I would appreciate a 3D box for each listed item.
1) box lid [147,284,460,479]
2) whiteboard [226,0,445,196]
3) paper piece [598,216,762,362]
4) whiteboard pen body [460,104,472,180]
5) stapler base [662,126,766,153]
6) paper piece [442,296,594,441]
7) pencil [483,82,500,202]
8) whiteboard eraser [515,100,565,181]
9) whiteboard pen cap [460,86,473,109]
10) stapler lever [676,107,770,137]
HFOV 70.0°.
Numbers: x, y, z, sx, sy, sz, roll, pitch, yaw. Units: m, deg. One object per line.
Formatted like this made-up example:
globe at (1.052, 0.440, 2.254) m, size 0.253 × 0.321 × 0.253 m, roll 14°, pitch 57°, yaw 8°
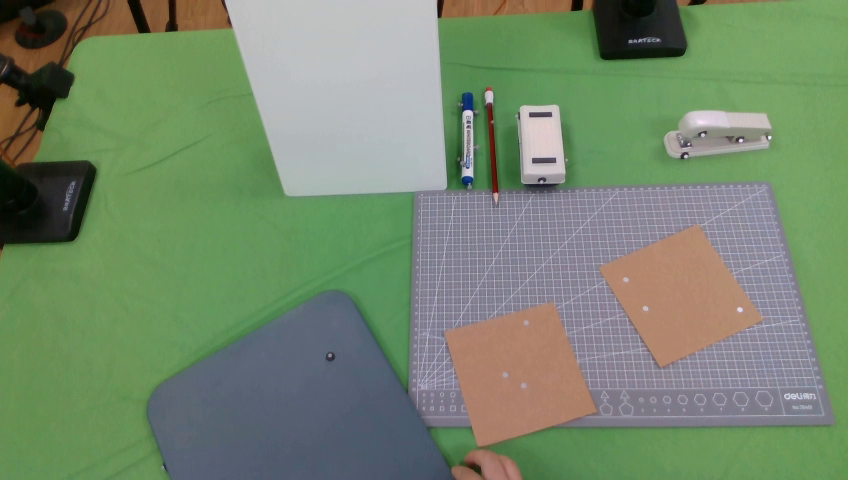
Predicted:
box lid at (-0.121, 0.243, 0.645) m, size 0.263 × 0.015 × 0.368 m, roll -30°, pitch 66°, yaw -10°
whiteboard at (-0.087, -0.219, 0.737) m, size 0.217 × 0.308 × 0.142 m, roll -1°, pitch 45°, yaw 4°
paper piece at (0.295, 0.054, 0.705) m, size 0.136 × 0.009 × 0.137 m, roll -23°, pitch 67°, yaw -2°
whiteboard pen body at (0.056, -0.143, 0.816) m, size 0.017 × 0.017 × 0.139 m, roll 0°, pitch 64°, yaw 5°
stapler base at (0.379, -0.141, 0.787) m, size 0.130 × 0.024 × 0.041 m, roll -6°, pitch 66°, yaw -1°
paper piece at (0.102, 0.139, 0.677) m, size 0.135 × 0.004 × 0.134 m, roll -15°, pitch 65°, yaw -3°
pencil at (0.092, -0.135, 0.813) m, size 0.012 × 0.012 × 0.192 m, roll -4°, pitch 64°, yaw 3°
whiteboard eraser at (0.150, -0.129, 0.789) m, size 0.055 × 0.042 × 0.112 m, roll -2°, pitch 64°, yaw 5°
whiteboard pen cap at (0.059, -0.196, 0.840) m, size 0.018 × 0.018 × 0.033 m, roll -2°, pitch 63°, yaw 4°
stapler lever at (0.379, -0.152, 0.766) m, size 0.118 × 0.040 × 0.026 m, roll -6°, pitch 66°, yaw 1°
